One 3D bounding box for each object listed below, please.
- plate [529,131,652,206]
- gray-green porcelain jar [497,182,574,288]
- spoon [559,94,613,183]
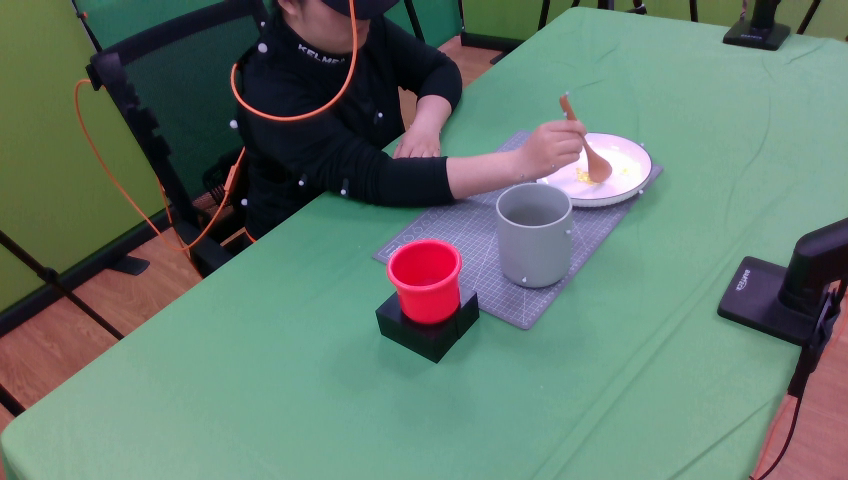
[{"bbox_3d":[0.287,-0.121,1.056,0.207,0.039,0.206,-5,40,5],"label":"plate"},{"bbox_3d":[0.161,-0.003,0.870,0.106,0.127,0.105,-5,40,5],"label":"gray-green porcelain jar"},{"bbox_3d":[0.259,-0.160,0.977,0.041,0.195,0.021,-32,34,13],"label":"spoon"}]
